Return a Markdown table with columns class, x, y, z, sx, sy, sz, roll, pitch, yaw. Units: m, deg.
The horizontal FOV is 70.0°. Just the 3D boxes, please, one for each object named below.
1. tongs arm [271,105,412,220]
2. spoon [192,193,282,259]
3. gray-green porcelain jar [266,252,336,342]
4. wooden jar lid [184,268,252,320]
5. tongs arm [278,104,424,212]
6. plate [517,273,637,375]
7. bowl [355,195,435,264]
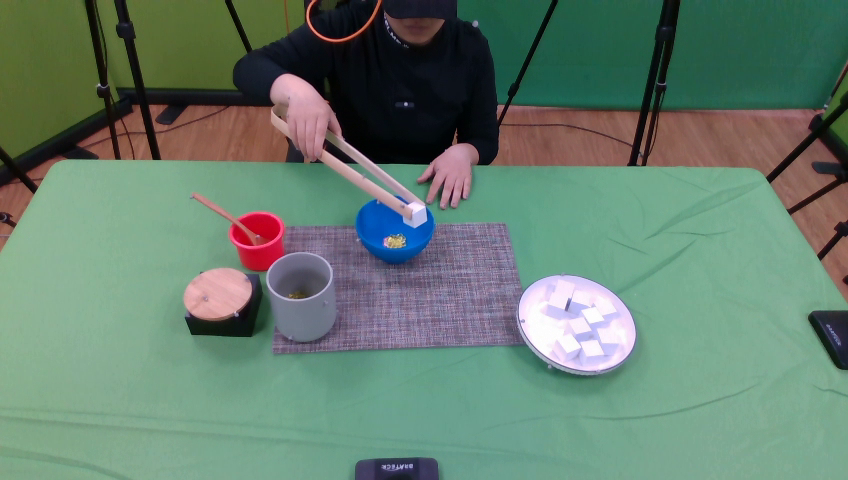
| class | x | y | z | sx | sy | sz | roll | pitch | yaw |
| --- | --- | --- | --- | --- | --- | --- | --- | --- | --- |
| tongs arm | -0.161 | -0.152 | 1.143 | 0.383 | 0.026 | 0.050 | 33 | 46 | 20 |
| spoon | -0.342 | -0.027 | 1.115 | 0.194 | 0.021 | 0.041 | 43 | 40 | -24 |
| gray-green porcelain jar | -0.202 | 0.100 | 1.009 | 0.106 | 0.127 | 0.105 | 2 | 46 | -2 |
| wooden jar lid | -0.343 | 0.092 | 1.015 | 0.108 | 0.021 | 0.107 | 3 | 46 | -3 |
| tongs arm | -0.145 | -0.163 | 1.159 | 0.386 | 0.028 | 0.028 | 37 | 51 | 23 |
| plate | 0.264 | 0.148 | 1.060 | 0.209 | 0.038 | 0.208 | 3 | 46 | -3 |
| bowl | -0.056 | -0.008 | 1.158 | 0.151 | 0.077 | 0.150 | 2 | 46 | -2 |
